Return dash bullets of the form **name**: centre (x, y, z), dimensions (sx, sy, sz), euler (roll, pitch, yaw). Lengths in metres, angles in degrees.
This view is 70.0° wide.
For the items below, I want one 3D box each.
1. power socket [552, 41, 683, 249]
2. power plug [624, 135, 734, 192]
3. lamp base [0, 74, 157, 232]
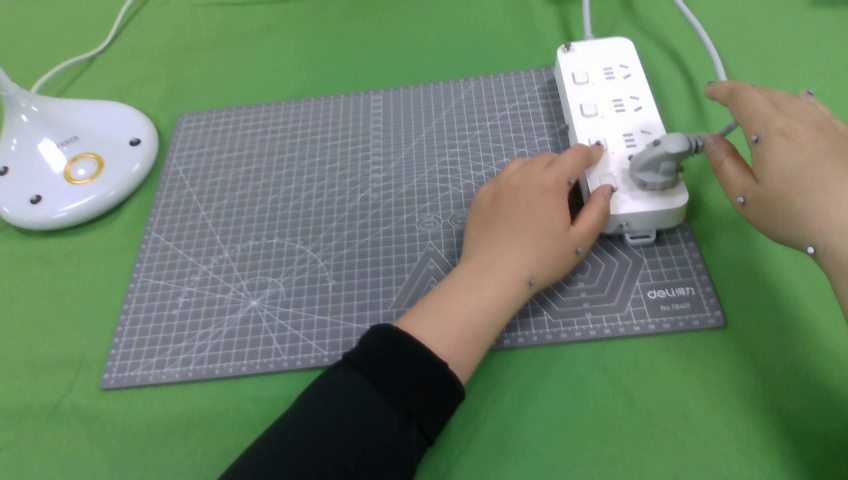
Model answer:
- **power socket**: centre (0.158, -0.093, 0.515), dimensions (0.072, 0.033, 0.224), euler (-4, 53, 4)
- **power plug**: centre (0.187, -0.050, 0.449), dimensions (0.072, 0.053, 0.035), euler (5, 54, 12)
- **lamp base**: centre (-0.356, -0.123, 0.525), dimensions (0.178, 0.182, 0.160), euler (27, 61, 28)
